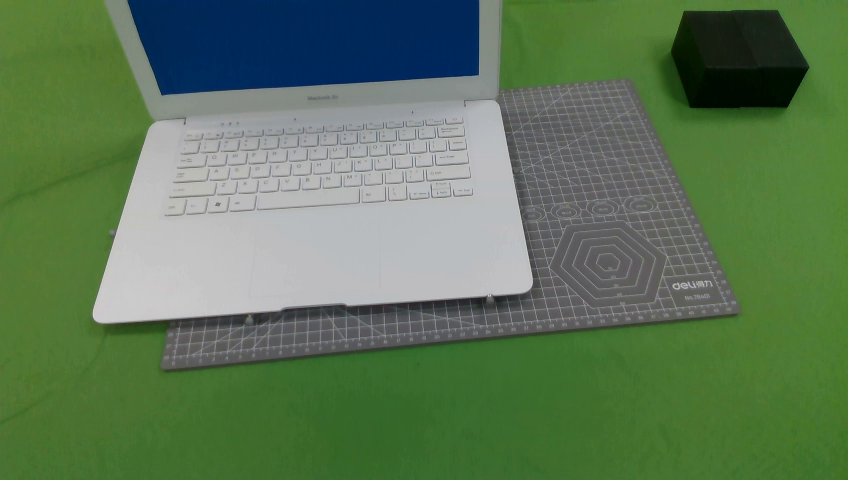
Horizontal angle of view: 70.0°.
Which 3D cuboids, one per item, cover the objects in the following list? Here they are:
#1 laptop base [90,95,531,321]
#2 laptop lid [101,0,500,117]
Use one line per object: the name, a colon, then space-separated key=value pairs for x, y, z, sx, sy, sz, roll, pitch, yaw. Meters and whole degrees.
laptop base: x=-0.096 y=-0.038 z=0.550 sx=0.354 sy=0.023 sz=0.233 roll=-4 pitch=56 yaw=-1
laptop lid: x=-0.107 y=-0.218 z=0.539 sx=0.357 sy=0.244 sz=0.013 roll=-5 pitch=43 yaw=0
